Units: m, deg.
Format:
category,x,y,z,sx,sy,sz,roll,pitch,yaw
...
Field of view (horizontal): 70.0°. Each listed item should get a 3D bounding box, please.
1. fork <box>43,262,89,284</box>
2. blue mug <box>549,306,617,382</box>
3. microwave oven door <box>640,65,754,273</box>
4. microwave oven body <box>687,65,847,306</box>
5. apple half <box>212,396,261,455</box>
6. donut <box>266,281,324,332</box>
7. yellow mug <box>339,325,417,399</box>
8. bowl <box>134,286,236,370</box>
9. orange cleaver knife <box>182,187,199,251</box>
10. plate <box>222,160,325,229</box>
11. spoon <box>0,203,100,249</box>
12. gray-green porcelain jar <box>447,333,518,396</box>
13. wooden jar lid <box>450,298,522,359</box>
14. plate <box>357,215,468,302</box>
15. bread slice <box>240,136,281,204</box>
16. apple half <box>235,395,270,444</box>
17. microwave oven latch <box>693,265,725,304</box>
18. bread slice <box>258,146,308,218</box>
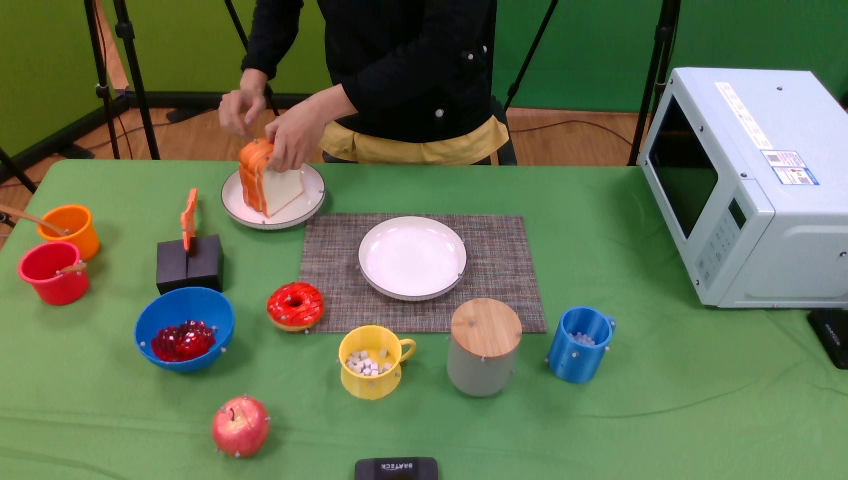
category,x,y,z,sx,sy,sz,roll,pitch,yaw
fork,-0.599,0.053,1.014,0.207,0.019,0.028,-14,30,45
blue mug,0.269,0.166,0.998,0.116,0.106,0.082,-19,51,-21
microwave oven door,0.523,-0.147,1.193,0.039,0.245,0.353,0,47,-3
microwave oven body,0.669,-0.111,1.176,0.326,0.261,0.439,0,46,-3
apple half,-0.276,0.276,0.877,0.053,0.075,0.080,-29,58,-21
donut,-0.222,0.114,1.049,0.099,0.048,0.098,2,45,-2
yellow mug,-0.072,0.190,0.978,0.131,0.064,0.099,-17,50,-20
bowl,-0.377,0.155,0.981,0.151,0.077,0.150,2,46,-2
orange cleaver knife,-0.445,-0.045,1.163,0.012,0.077,0.210,-5,24,-13
plate,-0.307,-0.095,1.251,0.209,0.038,0.208,2,46,-2
spoon,-0.683,-0.031,1.088,0.195,0.021,0.041,33,33,-38
gray-green porcelain jar,0.091,0.178,0.960,0.106,0.127,0.105,2,47,-2
wooden jar lid,0.093,0.135,0.914,0.108,0.021,0.107,3,48,-3
plate,-0.022,0.037,1.141,0.208,0.039,0.206,2,46,-2
bread slice,-0.326,-0.148,1.225,0.019,0.132,0.105,31,49,26
apple half,-0.245,0.259,0.893,0.033,0.082,0.081,-29,55,-22
microwave oven latch,0.522,0.081,1.115,0.030,0.029,0.078,2,46,-1
bread slice,-0.285,-0.120,1.203,0.018,0.135,0.107,27,53,26
